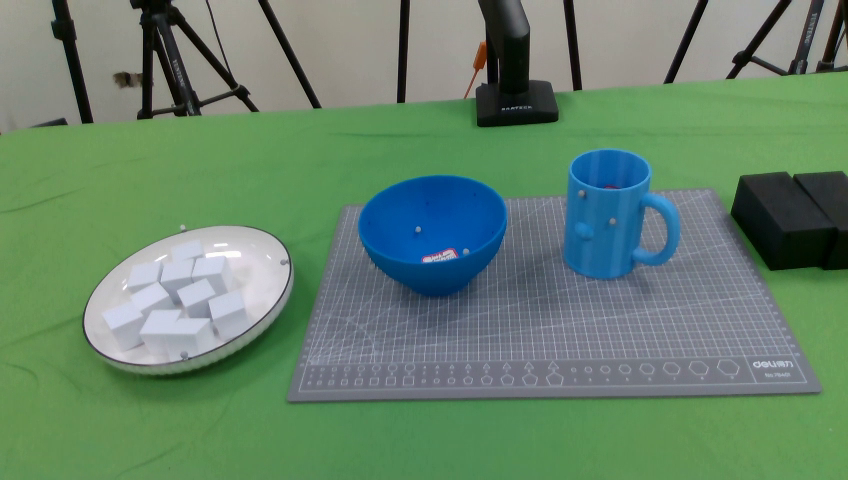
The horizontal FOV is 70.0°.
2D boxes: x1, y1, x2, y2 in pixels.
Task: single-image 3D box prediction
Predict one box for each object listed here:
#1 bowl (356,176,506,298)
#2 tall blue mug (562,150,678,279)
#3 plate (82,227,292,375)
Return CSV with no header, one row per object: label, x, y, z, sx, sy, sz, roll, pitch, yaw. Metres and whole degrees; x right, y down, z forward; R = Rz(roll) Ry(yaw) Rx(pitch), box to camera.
bowl,0.010,0.006,0.624,0.151,0.077,0.150,-4,38,4
tall blue mug,0.196,-0.023,0.608,0.107,0.109,0.077,5,39,15
plate,-0.238,0.062,0.628,0.209,0.038,0.207,-3,38,3
